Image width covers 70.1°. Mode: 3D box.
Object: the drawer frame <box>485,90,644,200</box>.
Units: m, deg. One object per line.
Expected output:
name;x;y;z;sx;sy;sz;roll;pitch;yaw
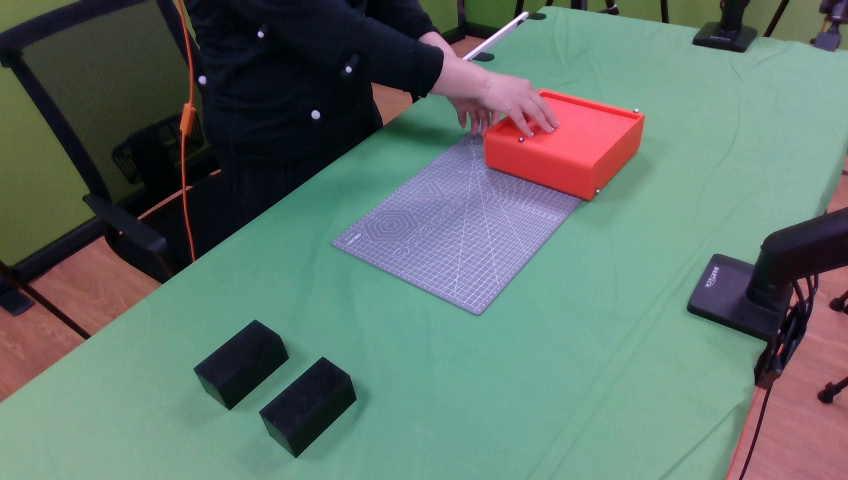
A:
drawer frame;0.253;-0.180;1.095;0.212;0.083;0.202;24;48;31

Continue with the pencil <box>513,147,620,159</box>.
pencil;0.259;-0.157;1.102;0.194;0.012;0.012;-4;40;3

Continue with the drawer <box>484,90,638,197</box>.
drawer;0.247;-0.180;1.097;0.210;0.073;0.195;25;49;31
